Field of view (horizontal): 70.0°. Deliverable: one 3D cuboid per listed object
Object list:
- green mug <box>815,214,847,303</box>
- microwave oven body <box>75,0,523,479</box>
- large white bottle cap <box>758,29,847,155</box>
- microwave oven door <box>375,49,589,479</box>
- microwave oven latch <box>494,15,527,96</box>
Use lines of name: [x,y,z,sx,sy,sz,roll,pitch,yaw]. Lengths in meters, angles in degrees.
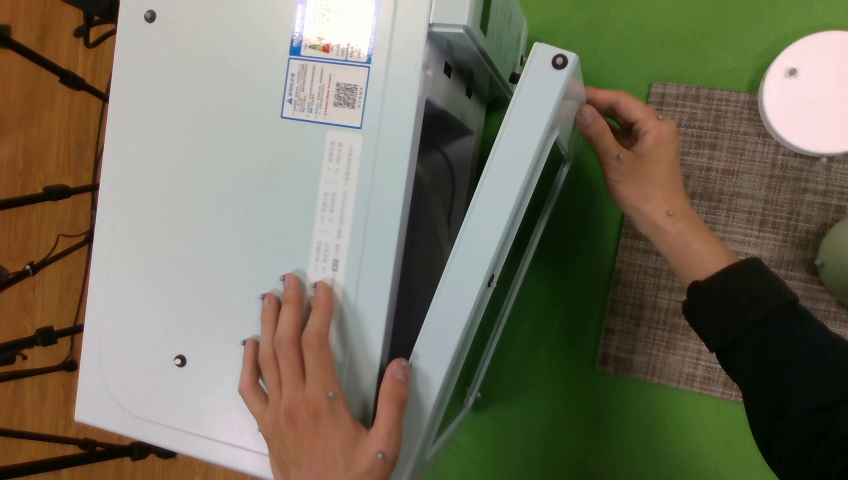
green mug: [0.404,0.033,0.517,0.092,0.105,0.125,-17,87,16]
microwave oven body: [-0.107,-0.039,0.587,0.325,0.261,0.442,10,95,16]
large white bottle cap: [0.377,-0.137,0.566,0.114,0.018,0.115,0,91,16]
microwave oven door: [0.058,0.036,0.535,0.039,0.244,0.356,23,98,16]
microwave oven latch: [0.087,-0.191,0.625,0.030,0.029,0.079,11,95,16]
